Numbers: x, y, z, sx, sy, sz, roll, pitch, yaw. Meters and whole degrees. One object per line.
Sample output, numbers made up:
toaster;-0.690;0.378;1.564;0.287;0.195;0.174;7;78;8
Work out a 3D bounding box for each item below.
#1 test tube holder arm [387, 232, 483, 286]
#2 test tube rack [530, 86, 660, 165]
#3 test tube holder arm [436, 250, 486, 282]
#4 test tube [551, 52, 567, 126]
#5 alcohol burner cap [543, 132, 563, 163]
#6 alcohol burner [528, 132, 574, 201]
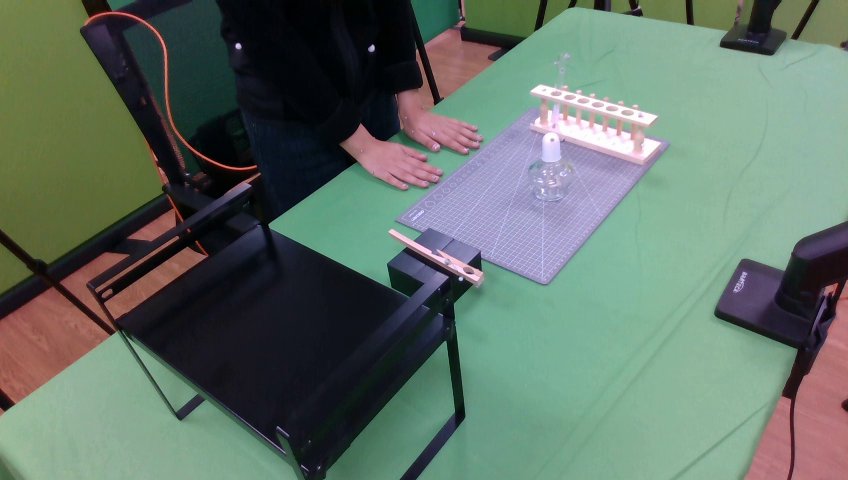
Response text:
test tube holder arm;0.012;0.025;0.874;0.177;0.015;0.013;24;56;33
test tube rack;0.320;-0.226;1.140;0.240;0.085;0.067;27;51;34
test tube holder arm;0.049;0.037;0.852;0.087;0.015;0.010;25;56;33
test tube;0.253;-0.281;1.139;0.017;0.151;0.017;-2;43;2
alcohol burner cap;0.211;-0.154;0.994;0.034;0.048;0.033;-7;35;6
alcohol burner;0.214;-0.126;1.016;0.078;0.119;0.077;-5;38;5
